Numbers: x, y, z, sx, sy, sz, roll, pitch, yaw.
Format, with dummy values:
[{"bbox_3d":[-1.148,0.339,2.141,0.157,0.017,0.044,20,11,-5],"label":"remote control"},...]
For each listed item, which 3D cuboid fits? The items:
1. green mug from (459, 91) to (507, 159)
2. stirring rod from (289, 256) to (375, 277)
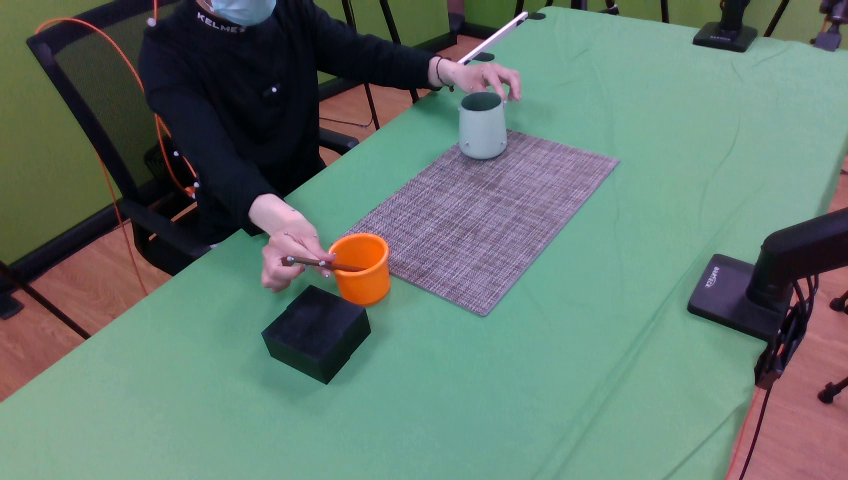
[{"bbox_3d":[0.116,-0.225,1.144,0.092,0.105,0.125,13,45,23],"label":"green mug"},{"bbox_3d":[-0.124,0.038,0.845,0.014,0.177,0.006,20,92,33],"label":"stirring rod"}]
